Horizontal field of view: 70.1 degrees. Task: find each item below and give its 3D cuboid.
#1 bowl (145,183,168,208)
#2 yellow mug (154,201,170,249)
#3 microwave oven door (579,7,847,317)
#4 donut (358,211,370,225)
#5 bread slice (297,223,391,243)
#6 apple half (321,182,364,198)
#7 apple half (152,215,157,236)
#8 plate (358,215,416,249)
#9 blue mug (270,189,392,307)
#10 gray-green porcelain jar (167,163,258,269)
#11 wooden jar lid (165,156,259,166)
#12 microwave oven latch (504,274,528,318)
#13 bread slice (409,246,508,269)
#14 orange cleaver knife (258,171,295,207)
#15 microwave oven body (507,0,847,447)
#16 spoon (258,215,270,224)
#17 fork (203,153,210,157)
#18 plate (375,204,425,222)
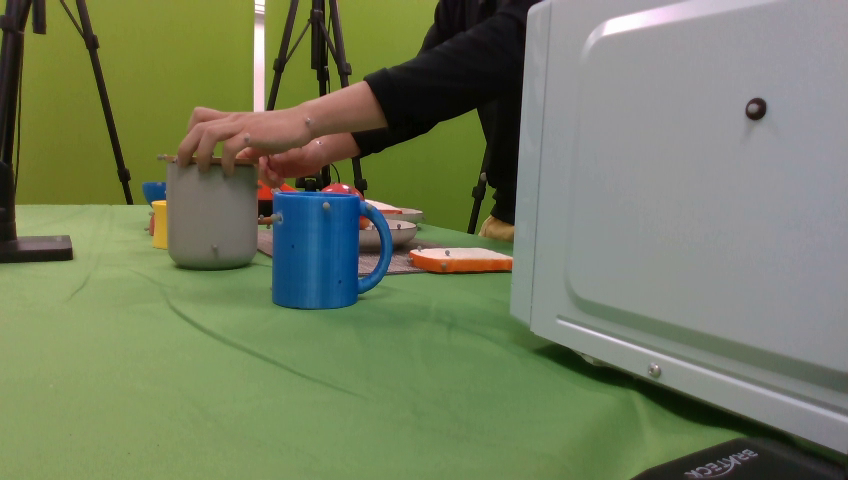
[{"bbox_3d":[-0.459,-0.068,1.175,0.151,0.077,0.151,3,7,0],"label":"bowl"},{"bbox_3d":[-0.337,-0.022,0.899,0.130,0.064,0.100,8,9,34],"label":"yellow mug"},{"bbox_3d":[0.294,-0.067,0.570,0.358,0.243,0.039,-3,9,-31],"label":"microwave oven door"},{"bbox_3d":[-0.132,-0.042,0.959,0.099,0.048,0.099,0,8,0],"label":"donut"},{"bbox_3d":[-0.121,-0.013,0.971,0.106,0.018,0.135,9,11,42],"label":"bread slice"},{"bbox_3d":[-0.128,-0.076,0.954,0.081,0.033,0.081,7,12,-1],"label":"apple half"},{"bbox_3d":[-0.415,-0.034,1.017,0.081,0.053,0.074,1,10,-8],"label":"apple half"},{"bbox_3d":[-0.116,-0.014,0.967,0.208,0.039,0.207,2,8,0],"label":"plate"},{"bbox_3d":[-0.089,0.005,0.588,0.117,0.106,0.082,0,7,-10],"label":"blue mug"},{"bbox_3d":[-0.261,-0.031,0.753,0.106,0.126,0.106,2,7,0],"label":"gray-green porcelain jar"},{"bbox_3d":[-0.259,-0.092,0.745,0.108,0.020,0.108,1,9,0],"label":"wooden jar lid"},{"bbox_3d":[0.100,0.041,0.470,0.079,0.029,0.030,-1,7,-26],"label":"microwave oven latch"},{"bbox_3d":[0.048,0.021,0.816,0.132,0.019,0.104,0,7,-24],"label":"bread slice"},{"bbox_3d":[-0.283,-0.087,1.343,0.212,0.077,0.012,24,-16,-41],"label":"orange cleaver knife"},{"bbox_3d":[0.331,-0.042,0.425,0.444,0.260,0.324,-2,8,-31],"label":"microwave oven body"},{"bbox_3d":[-0.199,-0.033,0.960,0.041,0.021,0.194,-37,-17,24],"label":"spoon"},{"bbox_3d":[-0.480,-0.136,1.411,0.028,0.018,0.207,0,-34,-1],"label":"fork"},{"bbox_3d":[-0.102,-0.053,1.299,0.209,0.038,0.209,2,8,0],"label":"plate"}]
